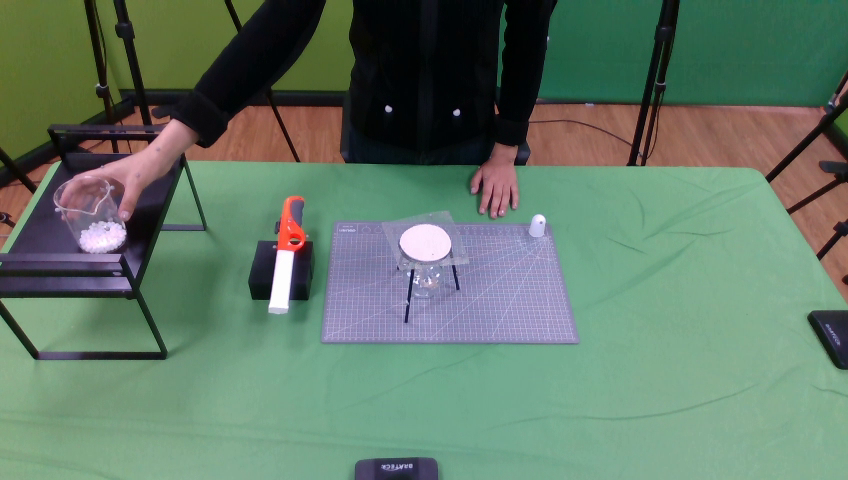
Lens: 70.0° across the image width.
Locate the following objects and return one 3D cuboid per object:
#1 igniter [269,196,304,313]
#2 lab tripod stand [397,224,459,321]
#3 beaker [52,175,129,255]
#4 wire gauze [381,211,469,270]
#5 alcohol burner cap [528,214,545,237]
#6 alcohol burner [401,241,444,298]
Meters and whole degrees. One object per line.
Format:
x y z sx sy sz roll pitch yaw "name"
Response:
-0.249 0.016 1.095 0.057 0.025 0.274 7 46 -12 "igniter"
-0.003 0.052 1.067 0.148 0.132 0.147 3 48 -3 "lab tripod stand"
-0.482 -0.032 0.888 0.074 0.101 0.083 -28 55 -27 "beaker"
0.000 0.001 1.023 0.125 0.011 0.120 -9 48 -13 "wire gauze"
0.231 -0.032 1.230 0.034 0.048 0.033 2 46 -2 "alcohol burner cap"
-0.001 0.048 1.084 0.078 0.119 0.077 2 44 -2 "alcohol burner"
